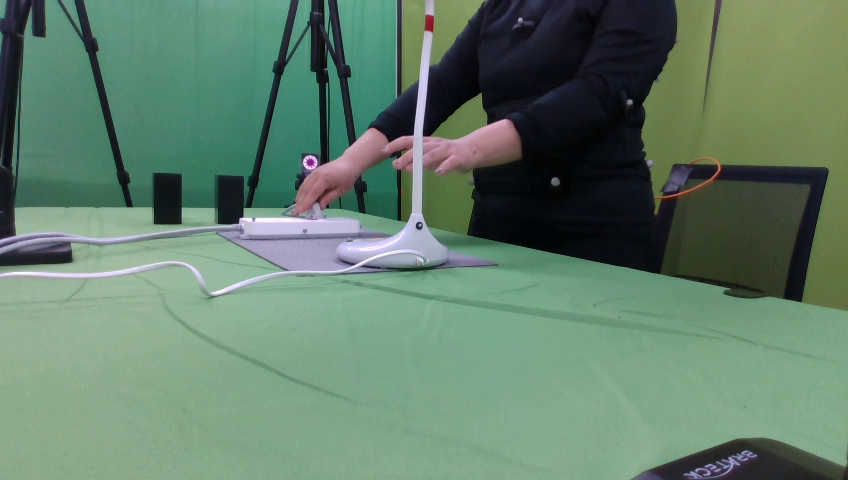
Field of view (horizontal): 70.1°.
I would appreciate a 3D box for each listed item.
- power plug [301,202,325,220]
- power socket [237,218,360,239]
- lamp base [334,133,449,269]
[{"bbox_3d":[-0.206,-0.045,1.120,0.035,0.052,0.072,0,2,-20],"label":"power plug"},{"bbox_3d":[-0.220,-0.023,1.080,0.228,0.032,0.072,-2,7,-33],"label":"power socket"},{"bbox_3d":[-0.034,-0.057,0.830,0.161,0.180,0.178,-3,12,-36],"label":"lamp base"}]
